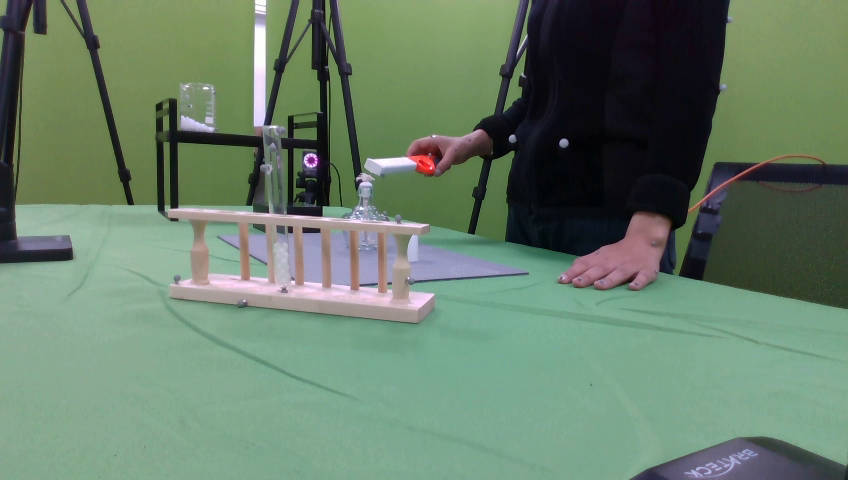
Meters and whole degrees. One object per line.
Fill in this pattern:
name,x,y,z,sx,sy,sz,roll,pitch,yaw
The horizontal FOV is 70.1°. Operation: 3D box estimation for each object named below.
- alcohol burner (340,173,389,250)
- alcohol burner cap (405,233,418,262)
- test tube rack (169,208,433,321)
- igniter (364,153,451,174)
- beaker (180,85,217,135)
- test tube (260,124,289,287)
alcohol burner,-0.093,-0.045,0.939,0.078,0.119,0.078,0,7,0
alcohol burner cap,-0.024,0.005,0.847,0.034,0.048,0.034,3,10,0
test tube rack,-0.115,0.017,0.574,0.242,0.085,0.067,4,8,14
igniter,-0.021,-0.137,1.073,0.057,0.025,0.277,32,21,18
beaker,-0.478,-0.275,1.279,0.074,0.100,0.084,4,8,15
test tube,-0.137,-0.030,0.554,0.017,0.150,0.017,-2,10,1
